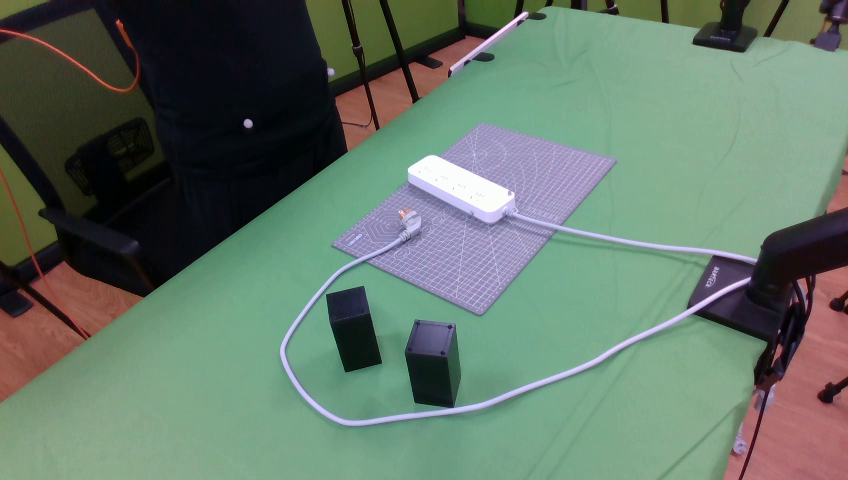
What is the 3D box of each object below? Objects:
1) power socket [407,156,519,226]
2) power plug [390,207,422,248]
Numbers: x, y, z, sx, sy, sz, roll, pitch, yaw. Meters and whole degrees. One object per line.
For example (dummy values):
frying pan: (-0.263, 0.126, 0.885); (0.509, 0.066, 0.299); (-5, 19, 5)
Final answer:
power socket: (0.062, -0.089, 1.053); (0.072, 0.033, 0.225); (-36, 49, -29)
power plug: (-0.035, -0.026, 0.985); (0.073, 0.035, 0.052); (-24, 61, -35)
